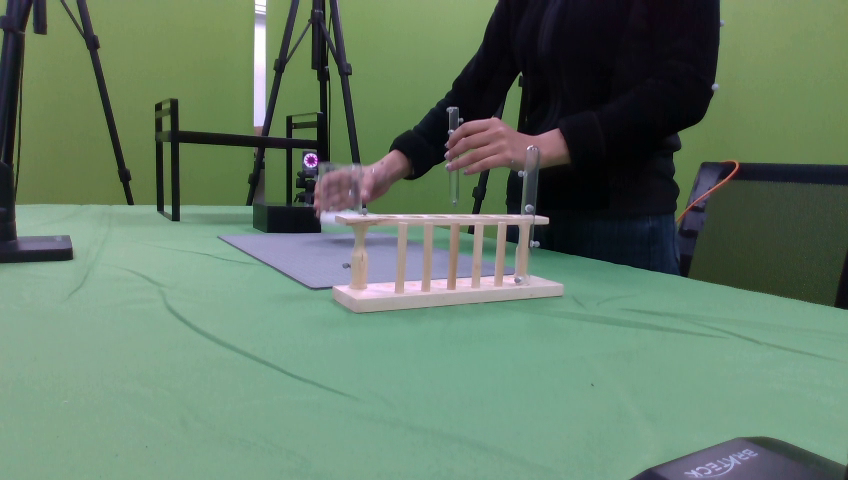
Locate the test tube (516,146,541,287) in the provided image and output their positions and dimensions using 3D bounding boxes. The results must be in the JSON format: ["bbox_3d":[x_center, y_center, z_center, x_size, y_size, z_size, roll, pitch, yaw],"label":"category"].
[{"bbox_3d":[0.110,-0.024,0.638,0.017,0.150,0.017,3,6,0],"label":"test tube"}]

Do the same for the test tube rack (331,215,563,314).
[{"bbox_3d":[0.031,0.019,0.625,0.243,0.085,0.066,-1,8,-28],"label":"test tube rack"}]

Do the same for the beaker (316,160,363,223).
[{"bbox_3d":[-0.136,-0.079,0.983,0.074,0.100,0.083,-2,6,-24],"label":"beaker"}]

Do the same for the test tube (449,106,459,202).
[{"bbox_3d":[0.047,-0.134,0.948,0.017,0.150,0.017,-1,13,0],"label":"test tube"}]
